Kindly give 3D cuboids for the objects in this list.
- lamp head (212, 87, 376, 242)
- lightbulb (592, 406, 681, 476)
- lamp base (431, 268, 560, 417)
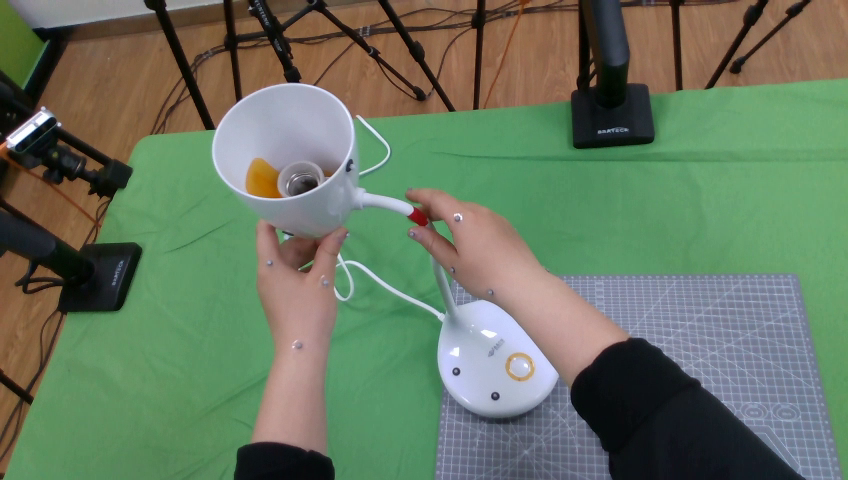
[{"bbox_3d":[-0.101,-0.051,0.519,0.112,0.124,0.111,-4,62,9],"label":"lamp head"},{"bbox_3d":[0.240,0.225,0.694,0.059,0.060,0.106,-47,45,-15],"label":"lightbulb"},{"bbox_3d":[0.069,0.107,0.727,0.178,0.182,0.160,23,67,28],"label":"lamp base"}]
